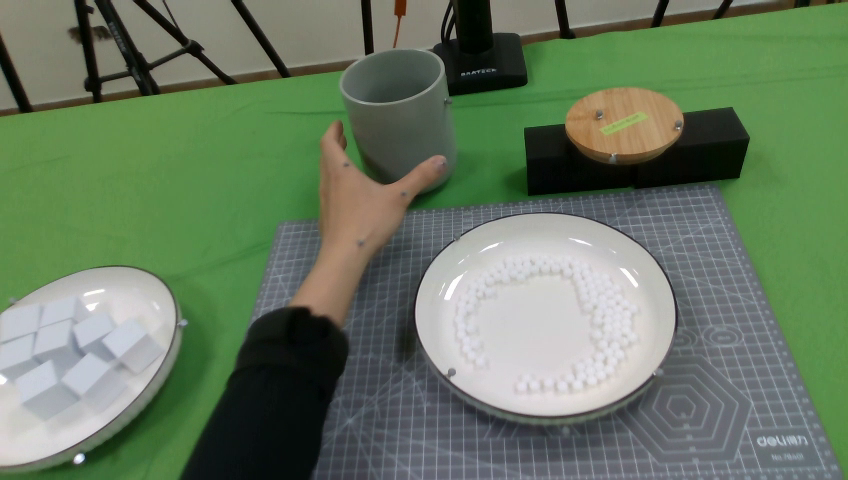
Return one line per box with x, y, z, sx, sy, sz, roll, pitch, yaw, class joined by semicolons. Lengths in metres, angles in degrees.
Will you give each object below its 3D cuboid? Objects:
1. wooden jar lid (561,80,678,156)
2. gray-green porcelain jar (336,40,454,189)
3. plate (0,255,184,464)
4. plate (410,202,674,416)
0.188;-0.118;0.587;0.108;0.021;0.107;-5;48;6;wooden jar lid
-0.025;-0.126;0.635;0.106;0.128;0.105;-6;46;7;gray-green porcelain jar
-0.313;0.102;0.540;0.207;0.039;0.205;-6;46;6;plate
0.093;0.053;0.499;0.209;0.038;0.207;-6;46;7;plate
